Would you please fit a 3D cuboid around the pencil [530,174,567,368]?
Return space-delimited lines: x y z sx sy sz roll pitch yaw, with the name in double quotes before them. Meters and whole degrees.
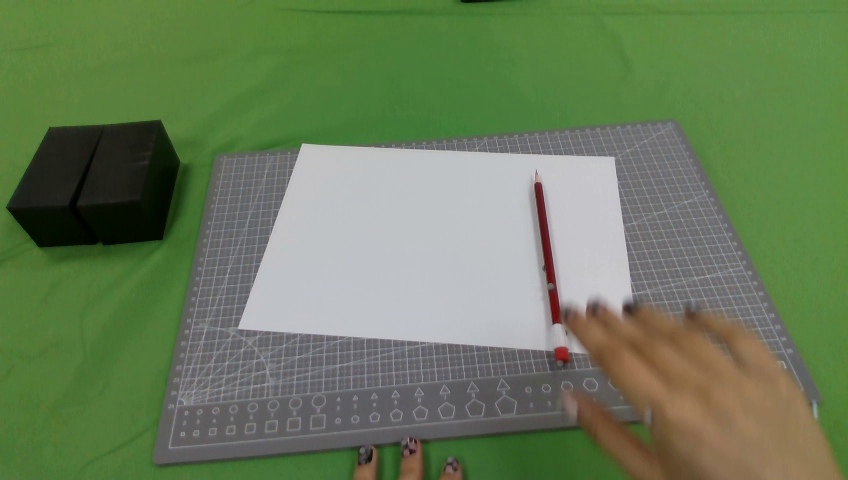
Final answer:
"pencil" 0.097 0.015 0.488 0.012 0.012 0.192 0 51 1
